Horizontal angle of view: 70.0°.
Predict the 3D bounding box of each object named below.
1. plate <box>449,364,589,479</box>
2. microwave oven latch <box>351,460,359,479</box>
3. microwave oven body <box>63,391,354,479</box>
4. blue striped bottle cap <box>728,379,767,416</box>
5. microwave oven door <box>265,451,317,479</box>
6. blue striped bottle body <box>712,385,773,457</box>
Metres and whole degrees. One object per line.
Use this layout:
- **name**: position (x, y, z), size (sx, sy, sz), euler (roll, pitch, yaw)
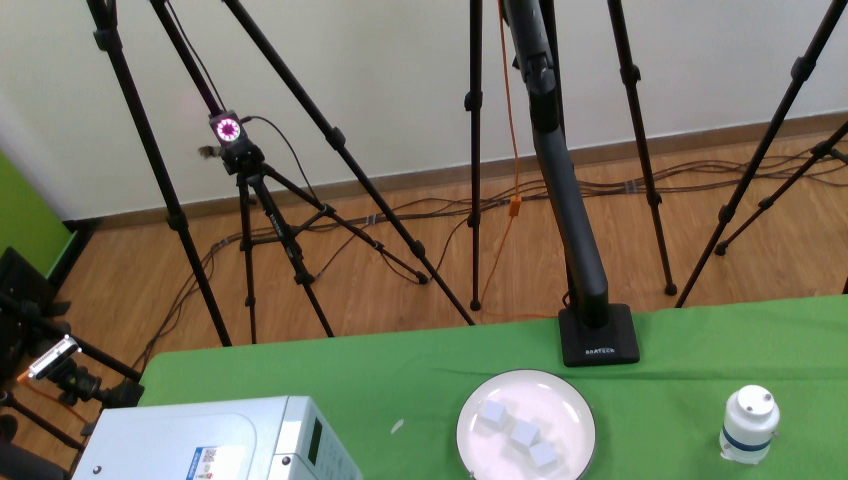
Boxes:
- **plate**: position (0.142, 0.286, 0.915), size (0.207, 0.039, 0.205), euler (-9, 45, 9)
- **microwave oven latch**: position (-0.114, 0.366, 0.890), size (0.030, 0.030, 0.078), euler (-6, 46, 11)
- **microwave oven body**: position (-0.290, 0.444, 0.729), size (0.325, 0.263, 0.437), euler (-7, 46, 11)
- **blue striped bottle cap**: position (0.414, 0.201, 0.776), size (0.044, 0.021, 0.044), euler (-8, 45, 8)
- **microwave oven door**: position (-0.151, 0.452, 0.669), size (0.039, 0.246, 0.352), euler (-7, 45, 11)
- **blue striped bottle body**: position (0.426, 0.237, 0.811), size (0.063, 0.122, 0.062), euler (-9, 45, 9)
